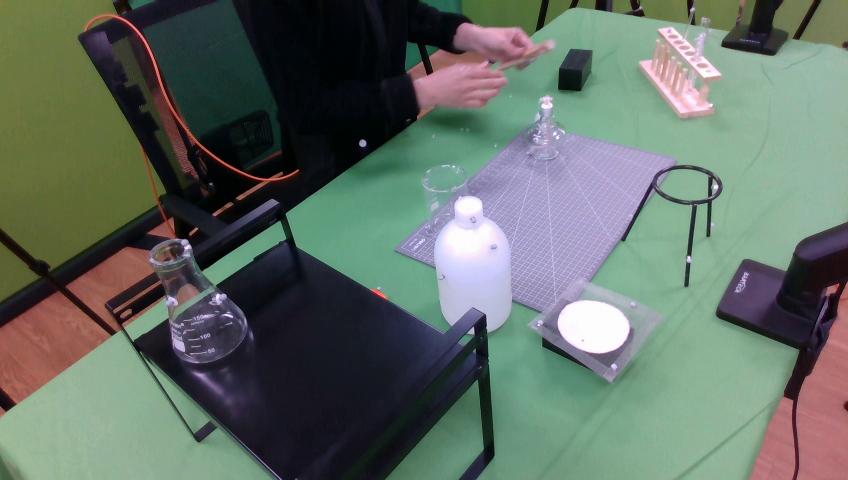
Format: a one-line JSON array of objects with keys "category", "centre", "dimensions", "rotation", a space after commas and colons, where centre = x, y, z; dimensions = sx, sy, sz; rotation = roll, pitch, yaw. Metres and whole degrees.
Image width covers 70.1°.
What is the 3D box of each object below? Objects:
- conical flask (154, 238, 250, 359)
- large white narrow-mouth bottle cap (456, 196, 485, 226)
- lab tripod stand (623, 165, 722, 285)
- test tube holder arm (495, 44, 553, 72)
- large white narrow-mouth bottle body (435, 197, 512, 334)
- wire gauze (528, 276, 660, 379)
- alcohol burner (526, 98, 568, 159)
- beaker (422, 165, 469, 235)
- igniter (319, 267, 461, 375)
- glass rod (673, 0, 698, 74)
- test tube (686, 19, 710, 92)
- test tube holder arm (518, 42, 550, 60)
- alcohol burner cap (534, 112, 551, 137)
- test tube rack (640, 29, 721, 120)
[{"category": "conical flask", "centre": [-0.225, 0.055, 0.597], "dimensions": [0.075, 0.122, 0.075], "rotation": [-5, 41, 4]}, {"category": "large white narrow-mouth bottle cap", "centre": [0.057, -0.037, 0.749], "dimensions": [0.038, 0.024, 0.037], "rotation": [-4, 40, 4]}, {"category": "lab tripod stand", "centre": [0.365, -0.030, 0.874], "dimensions": [0.148, 0.132, 0.147], "rotation": [-6, 41, 6]}, {"category": "test tube holder arm", "centre": [0.190, -0.350, 1.172], "dimensions": [0.177, 0.013, 0.015], "rotation": [3, 73, 64]}, {"category": "large white narrow-mouth bottle body", "centre": [0.066, 0.028, 0.805], "dimensions": [0.102, 0.195, 0.101], "rotation": [-4, 40, 4]}, {"category": "wire gauze", "centre": [0.214, 0.103, 0.763], "dimensions": [0.124, 0.011, 0.122], "rotation": [30, 53, 35]}, {"category": "alcohol burner", "centre": [0.228, -0.210, 1.118], "dimensions": [0.078, 0.119, 0.077], "rotation": [-5, 43, 5]}, {"category": "beaker", "centre": [0.041, -0.063, 0.986], "dimensions": [0.073, 0.101, 0.084], "rotation": [20, 47, 29]}, {"category": "igniter", "centre": [-0.060, 0.108, 0.862], "dimensions": [0.274, 0.025, 0.057], "rotation": [28, 62, 35]}, {"category": "glass rod", "centre": [0.538, -0.425, 1.244], "dimensions": [0.008, 0.200, 0.008], "rotation": [0, 47, 0]}, {"category": "test tube", "centre": [0.540, -0.360, 1.193], "dimensions": [0.017, 0.151, 0.017], "rotation": [-4, 43, 4]}, {"category": "test tube holder arm", "centre": [0.204, -0.351, 1.129], "dimensions": [0.087, 0.010, 0.015], "rotation": [3, 72, 65]}, {"category": "alcohol burner cap", "centre": [0.235, -0.231, 1.197], "dimensions": [0.034, 0.048, 0.033], "rotation": [-4, 40, 4]}, {"category": "test tube rack", "centre": [0.527, -0.351, 1.262], "dimensions": [0.067, 0.085, 0.241], "rotation": [-8, 40, 1]}]
